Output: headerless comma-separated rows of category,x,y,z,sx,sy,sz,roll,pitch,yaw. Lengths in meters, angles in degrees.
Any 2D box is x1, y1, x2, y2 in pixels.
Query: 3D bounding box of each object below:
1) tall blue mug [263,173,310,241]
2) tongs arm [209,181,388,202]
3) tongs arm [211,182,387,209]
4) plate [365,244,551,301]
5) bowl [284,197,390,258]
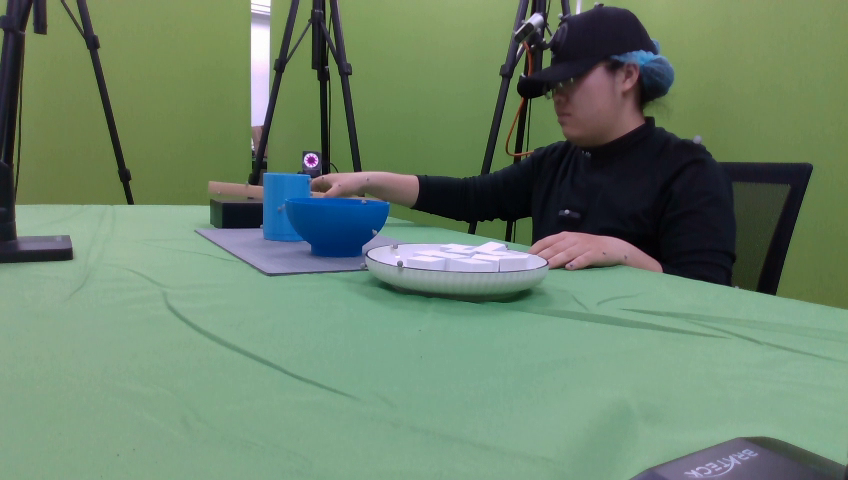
tall blue mug,-0.233,-0.058,1.019,0.078,0.108,0.107,-1,8,-19
tongs arm,-0.259,-0.095,1.305,0.386,0.026,0.050,4,1,-21
tongs arm,-0.279,-0.099,1.367,0.389,0.027,0.028,5,-3,-12
plate,0.038,0.035,0.685,0.209,0.038,0.209,2,7,0
bowl,-0.125,-0.018,0.870,0.151,0.077,0.151,2,7,0
